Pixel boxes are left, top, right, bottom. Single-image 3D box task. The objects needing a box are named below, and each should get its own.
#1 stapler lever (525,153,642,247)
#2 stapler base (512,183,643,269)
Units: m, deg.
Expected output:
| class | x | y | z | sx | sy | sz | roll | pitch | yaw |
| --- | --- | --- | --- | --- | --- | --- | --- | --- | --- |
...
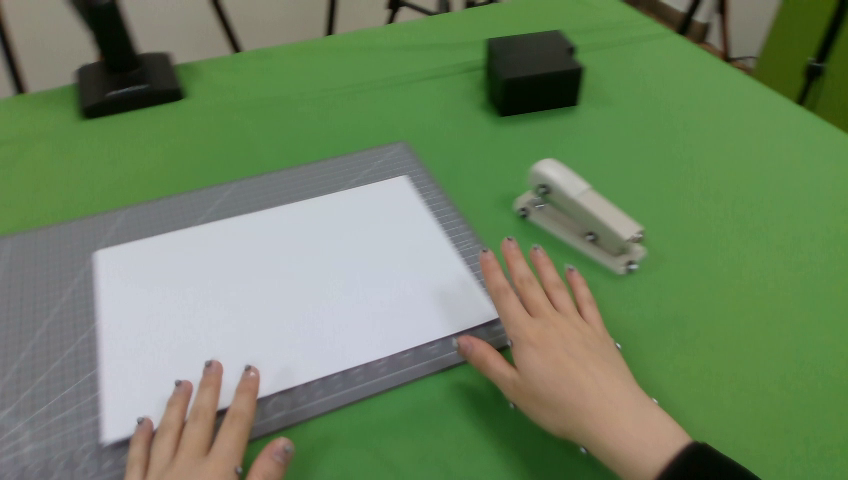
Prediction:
| class | x | y | z | sx | sy | sz | roll | pitch | yaw |
| --- | --- | --- | --- | --- | --- | --- | --- | --- | --- |
| stapler lever | 0.142 | -0.040 | 0.547 | 0.027 | 0.040 | 0.117 | -35 | 55 | -28 |
| stapler base | 0.141 | -0.023 | 0.565 | 0.041 | 0.024 | 0.129 | -35 | 55 | -28 |
